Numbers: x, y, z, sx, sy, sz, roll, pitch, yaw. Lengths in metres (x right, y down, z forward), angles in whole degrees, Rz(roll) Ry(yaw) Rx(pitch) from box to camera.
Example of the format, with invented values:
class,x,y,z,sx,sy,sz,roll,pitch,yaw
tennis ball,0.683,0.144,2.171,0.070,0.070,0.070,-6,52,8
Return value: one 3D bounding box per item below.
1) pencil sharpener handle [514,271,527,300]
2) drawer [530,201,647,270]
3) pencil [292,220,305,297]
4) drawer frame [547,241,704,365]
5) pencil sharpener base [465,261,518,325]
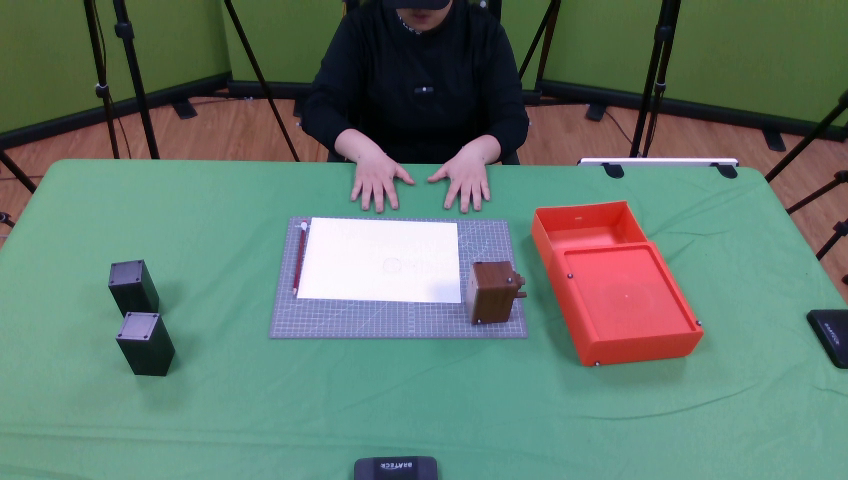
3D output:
class,x,y,z,sx,sy,sz,roll,pitch,yaw
pencil sharpener handle,0.168,0.081,1.051,0.031,0.068,0.035,-3,49,-7
drawer,0.329,0.025,1.159,0.195,0.073,0.210,-4,47,-9
pencil,-0.239,0.032,1.152,0.012,0.012,0.193,0,47,-4
drawer frame,0.348,0.106,1.077,0.202,0.083,0.212,-4,47,-9
pencil sharpener base,0.117,0.092,1.053,0.077,0.107,0.061,-3,46,-7
